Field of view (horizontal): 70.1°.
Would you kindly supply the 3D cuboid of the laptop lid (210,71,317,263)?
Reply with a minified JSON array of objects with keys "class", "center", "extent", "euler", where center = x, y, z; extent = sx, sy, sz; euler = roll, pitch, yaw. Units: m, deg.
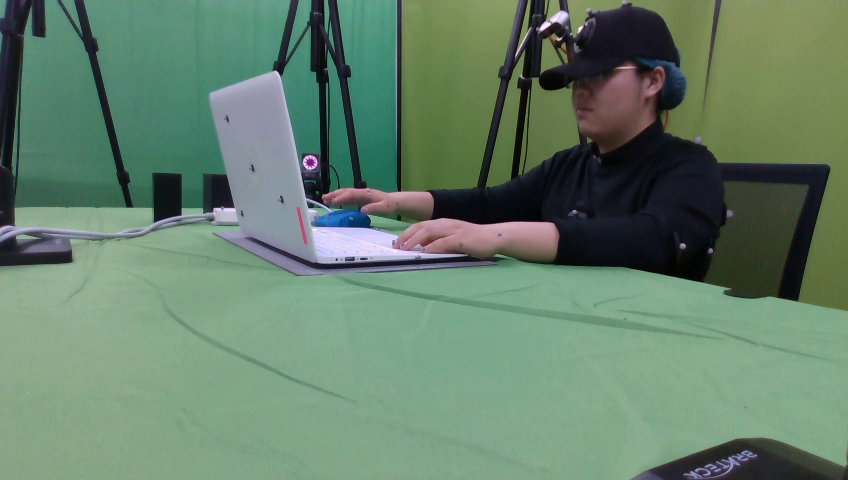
[{"class":"laptop lid","center":[-0.241,-0.104,0.861],"extent":[0.013,0.241,0.355],"euler":[-16,17,-29]}]

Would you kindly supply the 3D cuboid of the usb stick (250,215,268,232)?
[{"class":"usb stick","center":[-0.290,-0.028,1.070],"extent":[0.021,0.027,0.059],"euler":[-1,12,-31]}]

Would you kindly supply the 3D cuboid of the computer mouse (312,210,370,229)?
[{"class":"computer mouse","center":[-0.174,-0.042,1.266],"extent":[0.118,0.041,0.062],"euler":[-5,13,-34]}]

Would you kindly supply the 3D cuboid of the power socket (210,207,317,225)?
[{"class":"power socket","center":[-0.334,-0.051,1.281],"extent":[0.228,0.032,0.072],"euler":[-1,8,-28]}]

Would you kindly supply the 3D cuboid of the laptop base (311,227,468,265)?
[{"class":"laptop base","center":[-0.123,0.007,0.952],"extent":[0.237,0.023,0.352],"euler":[2,6,-32]}]

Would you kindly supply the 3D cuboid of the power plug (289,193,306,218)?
[{"class":"power plug","center":[-0.281,-0.076,1.340],"extent":[0.035,0.052,0.072],"euler":[3,6,-17]}]
